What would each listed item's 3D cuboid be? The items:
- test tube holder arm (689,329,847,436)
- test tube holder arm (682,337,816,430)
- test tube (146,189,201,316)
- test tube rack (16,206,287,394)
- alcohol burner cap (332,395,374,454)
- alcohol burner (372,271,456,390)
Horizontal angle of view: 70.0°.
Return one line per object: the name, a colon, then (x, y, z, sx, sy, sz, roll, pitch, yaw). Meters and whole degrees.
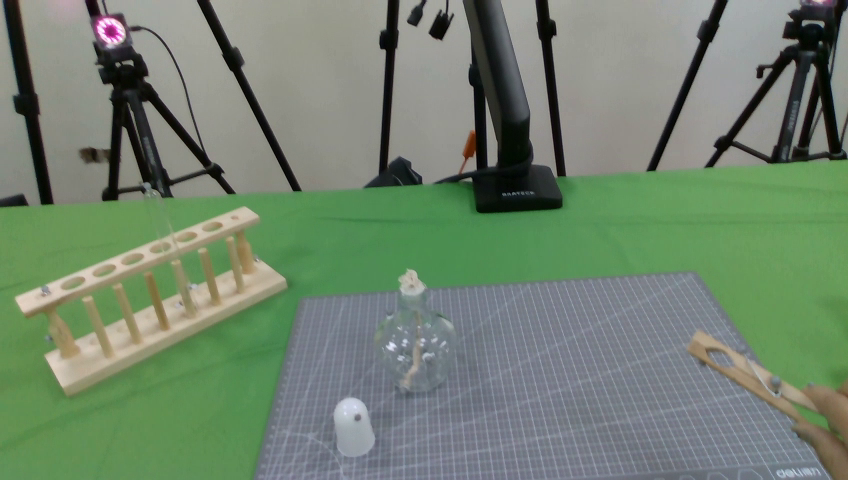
test tube holder arm: (0.239, 0.105, 0.359, 0.176, 0.015, 0.013, 34, 93, 39)
test tube holder arm: (0.207, 0.090, 0.388, 0.087, 0.015, 0.010, 34, 94, 39)
test tube: (-0.253, 0.016, 0.615, 0.017, 0.151, 0.017, -3, 33, 2)
test tube rack: (-0.274, 0.054, 0.643, 0.242, 0.086, 0.066, -27, 39, -33)
alcohol burner cap: (-0.060, 0.149, 0.500, 0.034, 0.048, 0.033, -2, 32, 1)
alcohol burner: (-0.010, 0.076, 0.544, 0.078, 0.120, 0.077, -2, 33, 1)
